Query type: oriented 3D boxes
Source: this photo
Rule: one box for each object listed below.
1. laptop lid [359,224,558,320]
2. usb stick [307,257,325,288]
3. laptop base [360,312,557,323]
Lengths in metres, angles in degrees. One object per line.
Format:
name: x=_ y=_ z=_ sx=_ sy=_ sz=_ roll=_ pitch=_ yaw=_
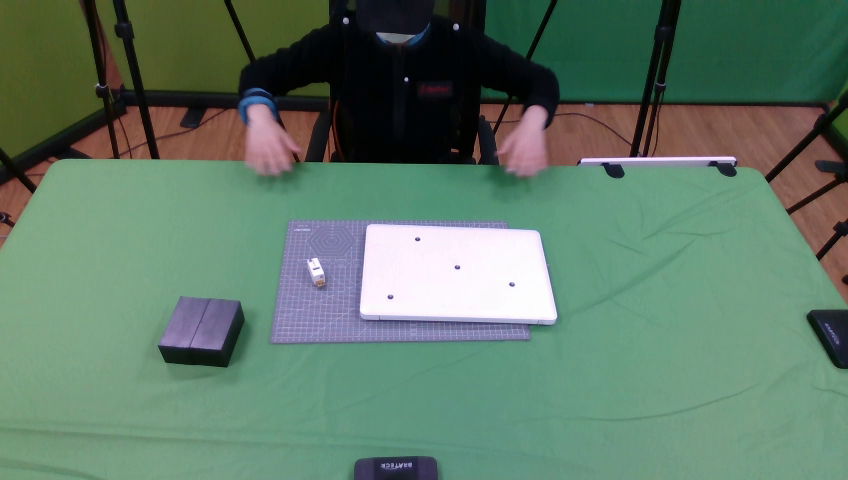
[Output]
laptop lid: x=0.062 y=0.053 z=1.138 sx=0.357 sy=0.013 sz=0.240 roll=3 pitch=44 yaw=-2
usb stick: x=-0.198 y=0.062 z=1.116 sx=0.021 sy=0.027 sz=0.059 roll=-15 pitch=52 yaw=-19
laptop base: x=0.061 y=0.063 z=1.145 sx=0.354 sy=0.023 sz=0.234 roll=2 pitch=43 yaw=-3
